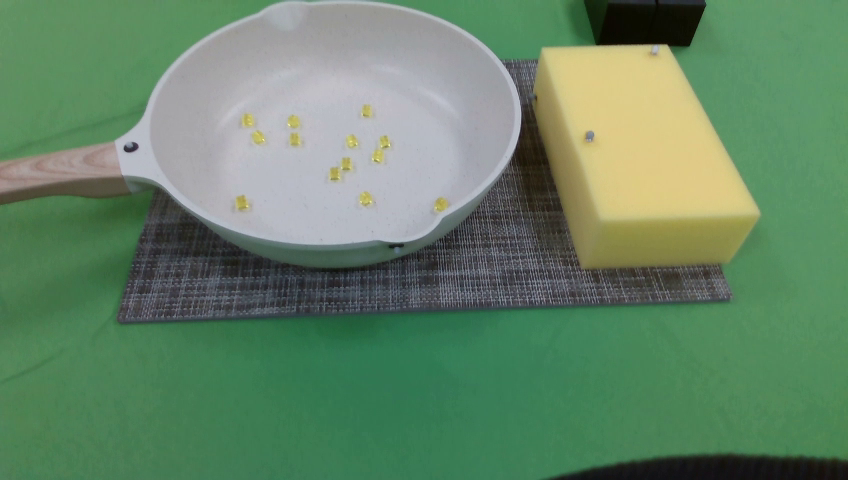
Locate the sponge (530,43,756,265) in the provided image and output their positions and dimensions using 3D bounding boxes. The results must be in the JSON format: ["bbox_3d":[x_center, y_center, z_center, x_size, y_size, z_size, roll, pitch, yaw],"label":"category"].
[{"bbox_3d":[0.169,-0.080,0.508,0.118,0.061,0.204,-3,52,-5],"label":"sponge"}]

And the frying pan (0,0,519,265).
[{"bbox_3d":[-0.165,-0.072,0.462,0.489,0.103,0.303,-13,52,-22],"label":"frying pan"}]
